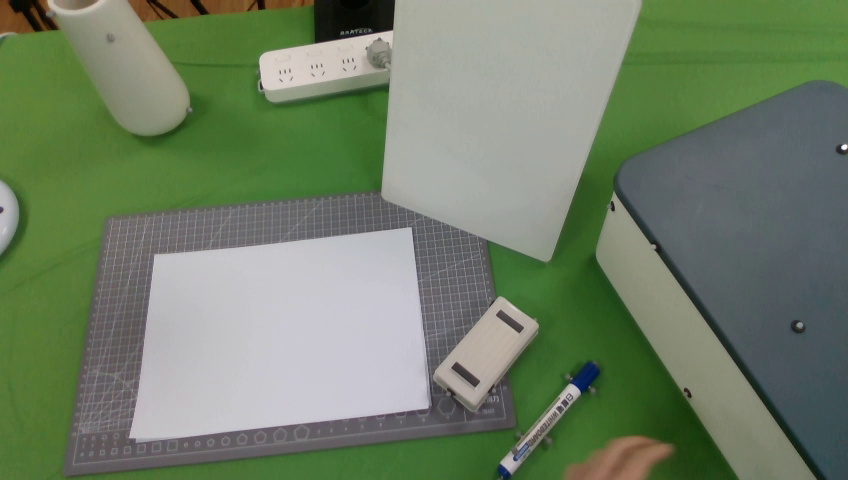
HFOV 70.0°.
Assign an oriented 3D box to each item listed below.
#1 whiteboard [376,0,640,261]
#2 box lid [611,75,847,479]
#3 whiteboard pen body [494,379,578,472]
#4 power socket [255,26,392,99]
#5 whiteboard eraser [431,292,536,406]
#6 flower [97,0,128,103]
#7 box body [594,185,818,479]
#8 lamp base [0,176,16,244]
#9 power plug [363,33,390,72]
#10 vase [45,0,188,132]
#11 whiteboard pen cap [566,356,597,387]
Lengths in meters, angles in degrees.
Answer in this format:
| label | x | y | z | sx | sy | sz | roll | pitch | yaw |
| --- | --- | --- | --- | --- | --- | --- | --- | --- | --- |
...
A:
| label | x | y | z | sx | sy | sz | roll | pitch | yaw |
| --- | --- | --- | --- | --- | --- | --- | --- | --- | --- |
| whiteboard | 0.087 | -0.164 | 0.650 | 0.216 | 0.308 | 0.143 | 22 | 45 | 14 |
| box lid | 0.354 | 0.025 | 0.505 | 0.263 | 0.015 | 0.368 | -23 | 64 | -9 |
| whiteboard pen body | 0.120 | 0.174 | 0.602 | 0.017 | 0.017 | 0.140 | 41 | 71 | 21 |
| power socket | -0.116 | -0.241 | 0.815 | 0.227 | 0.033 | 0.071 | -11 | 63 | -4 |
| whiteboard eraser | 0.061 | 0.110 | 0.619 | 0.055 | 0.042 | 0.112 | 36 | 69 | 19 |
| flower | -0.342 | -0.253 | 0.642 | 0.038 | 0.362 | 0.044 | 42 | 61 | 3 |
| box body | 0.358 | 0.062 | 0.570 | 0.254 | 0.161 | 0.360 | -23 | 64 | -10 |
| lamp base | -0.582 | -0.062 | 0.653 | 0.178 | 0.182 | 0.160 | 24 | 65 | 17 |
| power plug | -0.061 | -0.235 | 0.785 | 0.035 | 0.053 | 0.072 | -1 | 69 | 1 |
| vase | -0.360 | -0.220 | 0.718 | 0.098 | 0.201 | 0.097 | -1 | 62 | 3 |
| whiteboard pen cap | 0.161 | 0.135 | 0.620 | 0.018 | 0.018 | 0.033 | 40 | 72 | 20 |
